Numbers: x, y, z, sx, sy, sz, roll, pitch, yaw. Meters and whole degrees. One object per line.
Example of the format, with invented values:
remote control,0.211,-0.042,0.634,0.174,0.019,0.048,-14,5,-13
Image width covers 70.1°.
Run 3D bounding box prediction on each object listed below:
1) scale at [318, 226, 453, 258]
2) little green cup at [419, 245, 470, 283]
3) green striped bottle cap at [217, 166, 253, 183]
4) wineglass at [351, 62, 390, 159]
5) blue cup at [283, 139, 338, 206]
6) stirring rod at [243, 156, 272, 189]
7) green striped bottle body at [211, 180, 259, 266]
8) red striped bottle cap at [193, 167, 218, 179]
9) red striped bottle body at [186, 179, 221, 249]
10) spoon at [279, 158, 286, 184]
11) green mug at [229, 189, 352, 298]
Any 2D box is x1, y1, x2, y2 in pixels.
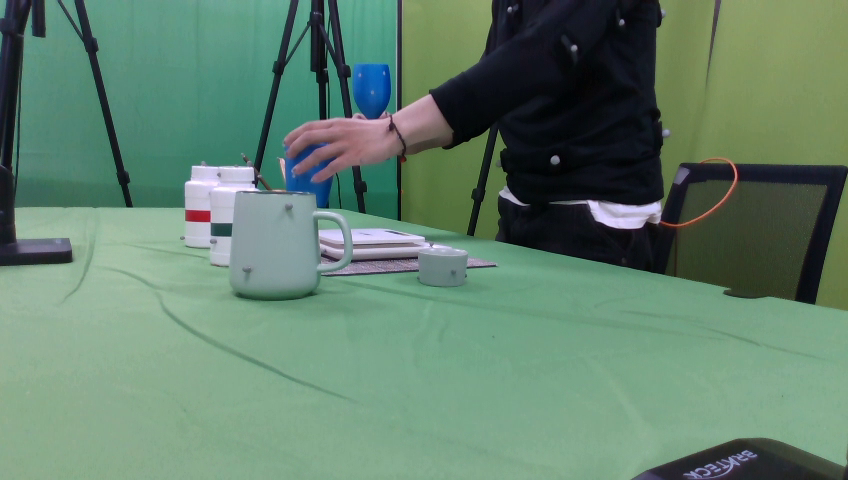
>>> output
scale,-0.066,0.001,0.906,0.202,0.031,0.148,-2,8,-31
little green cup,0.023,0.028,0.712,0.061,0.038,0.061,1,6,0
green striped bottle cap,-0.242,-0.085,0.777,0.044,0.020,0.044,2,9,0
wineglass,-0.096,-0.240,1.118,0.074,0.172,0.073,-1,15,0
blue cup,-0.182,-0.106,0.961,0.093,0.100,0.092,5,9,0
stirring rod,-0.304,-0.099,1.201,0.006,0.177,0.014,-27,37,7
green striped bottle body,-0.243,-0.029,0.784,0.063,0.119,0.063,2,7,0
red striped bottle cap,-0.329,-0.103,0.921,0.044,0.017,0.044,0,9,0
red striped bottle body,-0.331,-0.049,0.928,0.063,0.119,0.063,2,7,0
spoon,-0.280,-0.102,1.251,0.042,0.193,0.021,8,-40,-31
green mug,-0.135,0.002,0.618,0.125,0.105,0.092,2,7,4
